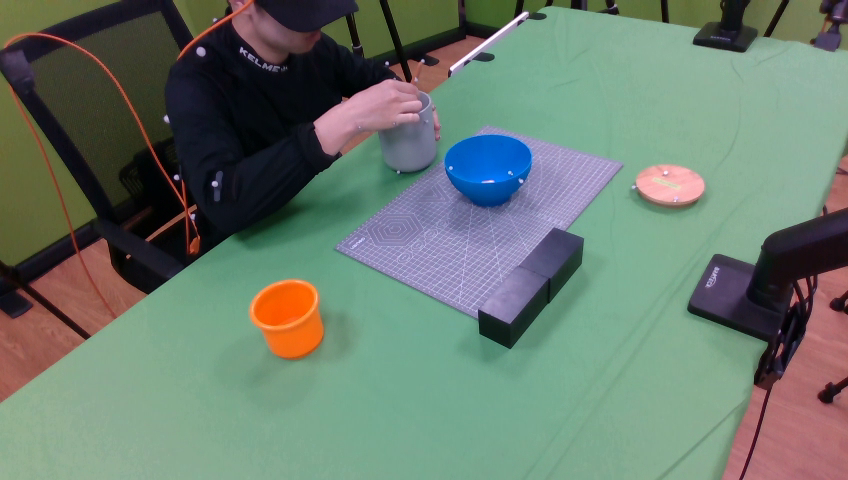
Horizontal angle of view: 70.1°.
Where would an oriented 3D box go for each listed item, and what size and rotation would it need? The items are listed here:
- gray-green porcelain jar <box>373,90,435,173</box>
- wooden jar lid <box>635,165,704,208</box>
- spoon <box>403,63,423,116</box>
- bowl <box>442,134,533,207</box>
[{"bbox_3d":[-0.034,-0.198,1.125,0.106,0.127,0.105,-4,40,4],"label":"gray-green porcelain jar"},{"bbox_3d":[0.411,-0.089,1.014,0.108,0.021,0.108,-5,41,5],"label":"wooden jar lid"},{"bbox_3d":[-0.029,-0.233,1.078,0.021,0.194,0.042,36,50,19],"label":"spoon"},{"bbox_3d":[0.110,-0.109,1.033,0.151,0.077,0.150,-4,41,4],"label":"bowl"}]
